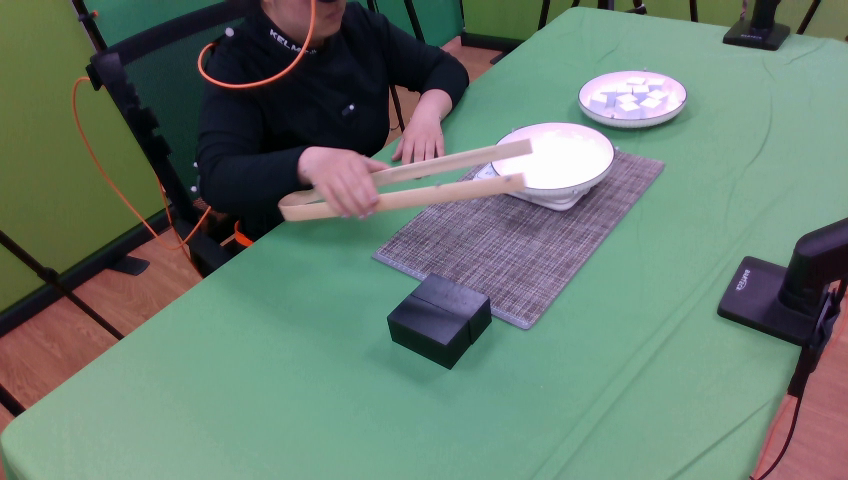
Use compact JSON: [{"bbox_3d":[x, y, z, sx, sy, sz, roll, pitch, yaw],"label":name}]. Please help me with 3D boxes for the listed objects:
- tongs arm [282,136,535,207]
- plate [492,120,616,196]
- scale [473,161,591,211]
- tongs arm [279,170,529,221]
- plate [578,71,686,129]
[{"bbox_3d":[-0.029,-0.097,0.899,0.386,0.028,0.028,-12,34,13],"label":"tongs arm"},{"bbox_3d":[0.221,-0.137,1.038,0.207,0.039,0.206,-6,41,5],"label":"plate"},{"bbox_3d":[0.202,-0.121,1.074,0.199,0.032,0.149,23,49,33],"label":"scale"},{"bbox_3d":[-0.042,-0.064,0.847,0.383,0.026,0.050,-8,31,20],"label":"tongs arm"},{"bbox_3d":[0.416,-0.279,1.222,0.209,0.038,0.208,-5,41,5],"label":"plate"}]
